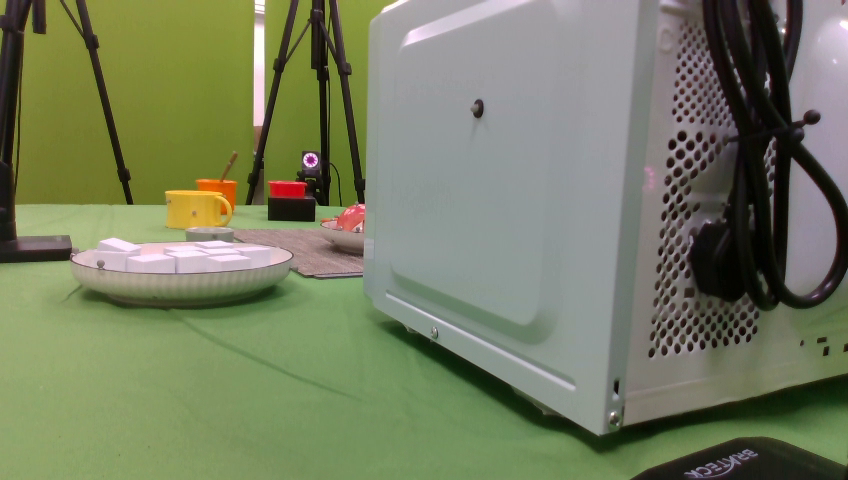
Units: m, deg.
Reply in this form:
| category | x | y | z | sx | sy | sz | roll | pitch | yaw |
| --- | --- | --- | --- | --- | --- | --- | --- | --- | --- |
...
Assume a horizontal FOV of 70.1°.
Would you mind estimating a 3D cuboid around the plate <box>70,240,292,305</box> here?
| category | x | y | z | sx | sy | sz | roll | pitch | yaw |
| --- | --- | --- | --- | --- | --- | --- | --- | --- | --- |
| plate | -0.242 | 0.032 | 0.618 | 0.208 | 0.039 | 0.207 | 2 | 8 | 0 |

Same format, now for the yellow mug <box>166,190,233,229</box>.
| category | x | y | z | sx | sy | sz | roll | pitch | yaw |
| --- | --- | --- | --- | --- | --- | --- | --- | --- | --- |
| yellow mug | -0.415 | -0.057 | 1.132 | 0.130 | 0.064 | 0.100 | 6 | 8 | 16 |

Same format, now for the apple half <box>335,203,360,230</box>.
| category | x | y | z | sx | sy | sz | roll | pitch | yaw |
| --- | --- | --- | --- | --- | --- | --- | --- | --- | --- |
| apple half | -0.116 | -0.038 | 0.959 | 0.081 | 0.033 | 0.081 | -38 | 8 | 7 |

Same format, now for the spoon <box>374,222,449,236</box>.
| category | x | y | z | sx | sy | sz | roll | pitch | yaw |
| --- | --- | --- | --- | --- | --- | --- | --- | --- | --- |
| spoon | -0.028 | -0.026 | 1.178 | 0.193 | 0.021 | 0.042 | 9 | 24 | 42 |

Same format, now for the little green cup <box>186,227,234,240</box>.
| category | x | y | z | sx | sy | sz | roll | pitch | yaw |
| --- | --- | --- | --- | --- | --- | --- | --- | --- | --- |
| little green cup | -0.285 | 0.005 | 0.805 | 0.061 | 0.038 | 0.061 | 2 | 8 | 0 |

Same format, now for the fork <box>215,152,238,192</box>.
| category | x | y | z | sx | sy | sz | roll | pitch | yaw |
| --- | --- | --- | --- | --- | --- | --- | --- | --- | --- |
| fork | -0.455 | -0.132 | 1.367 | 0.028 | 0.018 | 0.207 | -2 | -35 | -37 |

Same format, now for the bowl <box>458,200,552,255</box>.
| category | x | y | z | sx | sy | sz | roll | pitch | yaw |
| --- | --- | --- | --- | --- | --- | --- | --- | --- | --- |
| bowl | 0.128 | -0.020 | 0.978 | 0.151 | 0.077 | 0.151 | 3 | 8 | 0 |

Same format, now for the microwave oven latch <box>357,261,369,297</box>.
| category | x | y | z | sx | sy | sz | roll | pitch | yaw |
| --- | --- | --- | --- | --- | --- | --- | --- | --- | --- |
| microwave oven latch | -0.019 | 0.033 | 0.531 | 0.079 | 0.029 | 0.030 | -1 | 7 | -27 |

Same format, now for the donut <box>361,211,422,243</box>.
| category | x | y | z | sx | sy | sz | roll | pitch | yaw |
| --- | --- | --- | --- | --- | --- | --- | --- | --- | --- |
| donut | -0.051 | -0.020 | 0.958 | 0.099 | 0.048 | 0.099 | 4 | 7 | 0 |

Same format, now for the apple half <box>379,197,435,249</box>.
| category | x | y | z | sx | sy | sz | roll | pitch | yaw |
| --- | --- | --- | --- | --- | --- | --- | --- | --- | --- |
| apple half | -0.020 | -0.030 | 0.891 | 0.081 | 0.053 | 0.074 | -2 | 49 | -26 |

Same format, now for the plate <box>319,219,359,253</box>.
| category | x | y | z | sx | sy | sz | roll | pitch | yaw |
| --- | --- | --- | --- | --- | --- | --- | --- | --- | --- |
| plate | -0.059 | -0.007 | 0.939 | 0.209 | 0.038 | 0.209 | 3 | 8 | 0 |

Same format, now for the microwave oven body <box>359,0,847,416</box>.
| category | x | y | z | sx | sy | sz | roll | pitch | yaw |
| --- | --- | --- | --- | --- | --- | --- | --- | --- | --- |
| microwave oven body | 0.211 | -0.047 | 0.474 | 0.444 | 0.260 | 0.324 | -1 | 7 | -28 |

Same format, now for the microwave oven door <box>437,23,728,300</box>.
| category | x | y | z | sx | sy | sz | roll | pitch | yaw |
| --- | --- | --- | --- | --- | --- | --- | --- | --- | --- |
| microwave oven door | 0.181 | -0.072 | 0.621 | 0.358 | 0.243 | 0.039 | -2 | 8 | -29 |

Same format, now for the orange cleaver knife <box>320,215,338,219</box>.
| category | x | y | z | sx | sy | sz | roll | pitch | yaw |
| --- | --- | --- | --- | --- | --- | --- | --- | --- | --- |
| orange cleaver knife | -0.142 | -0.057 | 1.395 | 0.077 | 0.012 | 0.212 | 3 | 7 | 44 |
